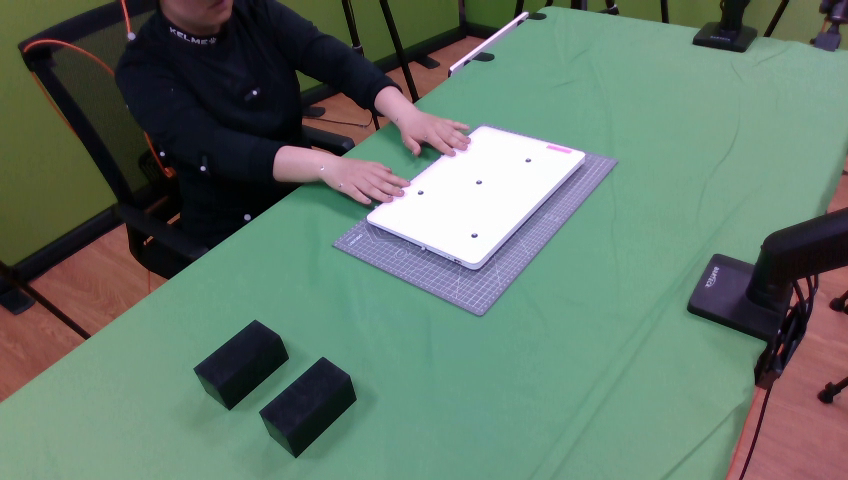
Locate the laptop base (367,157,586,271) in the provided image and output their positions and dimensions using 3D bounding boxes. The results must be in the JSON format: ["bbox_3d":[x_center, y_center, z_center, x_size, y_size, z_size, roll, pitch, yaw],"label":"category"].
[{"bbox_3d":[0.099,-0.085,1.058,0.233,0.023,0.355,21,48,34],"label":"laptop base"}]

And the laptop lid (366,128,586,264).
[{"bbox_3d":[0.096,-0.095,1.052,0.239,0.013,0.358,23,49,34],"label":"laptop lid"}]
